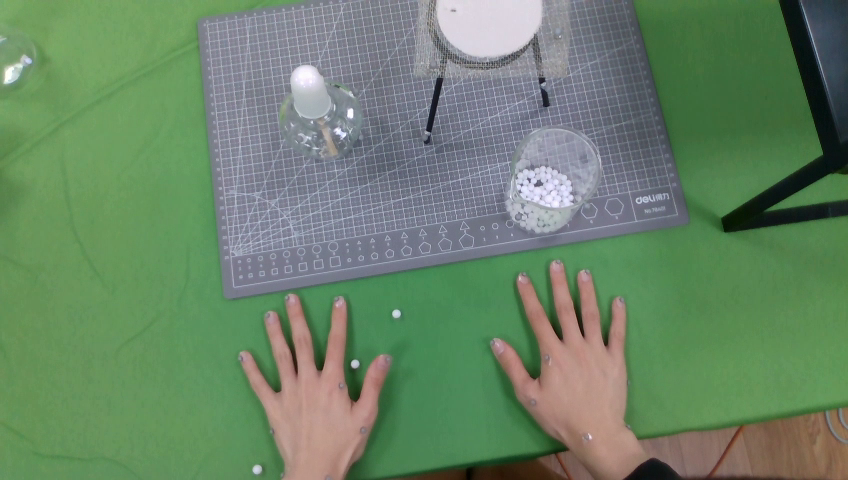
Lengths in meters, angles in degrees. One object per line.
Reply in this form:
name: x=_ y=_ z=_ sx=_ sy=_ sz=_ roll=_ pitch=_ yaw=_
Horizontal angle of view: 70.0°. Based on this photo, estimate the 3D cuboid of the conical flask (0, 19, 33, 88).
conical flask: x=-0.442 y=-0.201 z=0.571 sx=0.075 sy=0.122 sz=0.075 roll=0 pitch=78 yaw=1

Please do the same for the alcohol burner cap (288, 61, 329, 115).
alcohol burner cap: x=-0.100 y=-0.132 z=0.517 sx=0.034 sy=0.048 sz=0.033 roll=1 pitch=69 yaw=-3

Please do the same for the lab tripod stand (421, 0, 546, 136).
lab tripod stand: x=0.050 y=-0.170 z=0.549 sx=0.148 sy=0.132 sz=0.147 roll=0 pitch=77 yaw=0

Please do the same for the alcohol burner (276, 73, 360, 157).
alcohol burner: x=-0.099 y=-0.122 z=0.552 sx=0.078 sy=0.119 sz=0.077 roll=0 pitch=76 yaw=0

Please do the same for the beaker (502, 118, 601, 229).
beaker: x=0.106 y=-0.051 z=0.541 sx=0.084 sy=0.100 sz=0.073 roll=-36 pitch=79 yaw=-5

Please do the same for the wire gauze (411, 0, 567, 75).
wire gauze: x=0.054 y=-0.190 z=0.484 sx=0.121 sy=0.011 sz=0.124 roll=4 pitch=79 yaw=0
